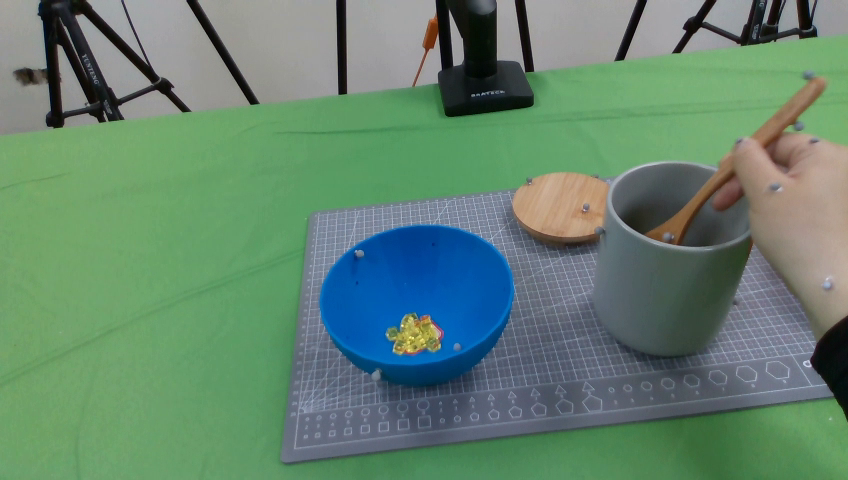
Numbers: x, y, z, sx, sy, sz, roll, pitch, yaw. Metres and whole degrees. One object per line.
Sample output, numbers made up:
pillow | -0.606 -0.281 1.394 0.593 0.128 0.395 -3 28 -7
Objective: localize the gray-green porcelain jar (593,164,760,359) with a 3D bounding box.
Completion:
gray-green porcelain jar | 0.190 0.022 0.474 0.106 0.128 0.105 -4 41 4

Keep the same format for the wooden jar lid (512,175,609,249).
wooden jar lid | 0.145 -0.028 0.620 0.108 0.021 0.107 -4 40 4

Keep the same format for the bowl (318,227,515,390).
bowl | -0.003 0.067 0.486 0.151 0.077 0.150 -4 41 4

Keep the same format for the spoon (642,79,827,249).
spoon | 0.198 -0.030 0.422 0.022 0.194 0.041 14 37 -27
